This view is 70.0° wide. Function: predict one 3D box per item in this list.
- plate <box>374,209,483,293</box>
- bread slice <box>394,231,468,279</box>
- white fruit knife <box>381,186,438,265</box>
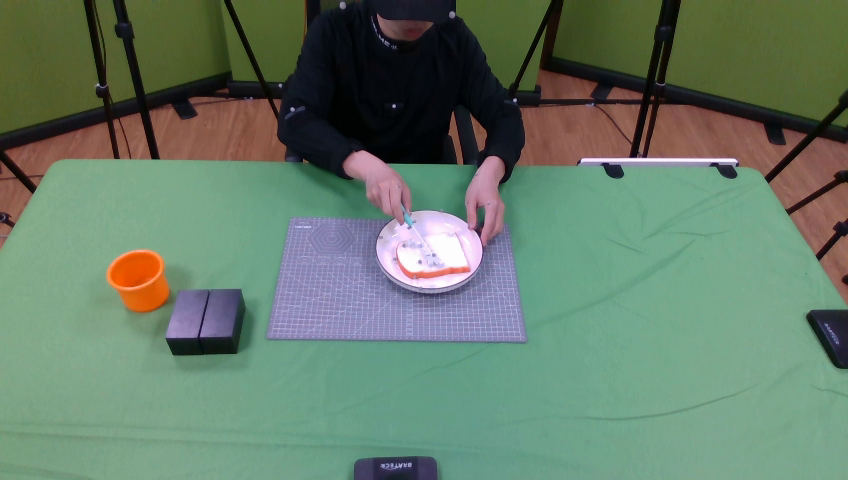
[{"bbox_3d":[0.009,0.024,1.160,0.209,0.038,0.208,2,46,-2],"label":"plate"},{"bbox_3d":[0.011,0.030,1.159,0.132,0.019,0.104,-8,47,-15],"label":"bread slice"},{"bbox_3d":[-0.027,-0.031,1.155,0.016,0.027,0.206,-29,63,-15],"label":"white fruit knife"}]
